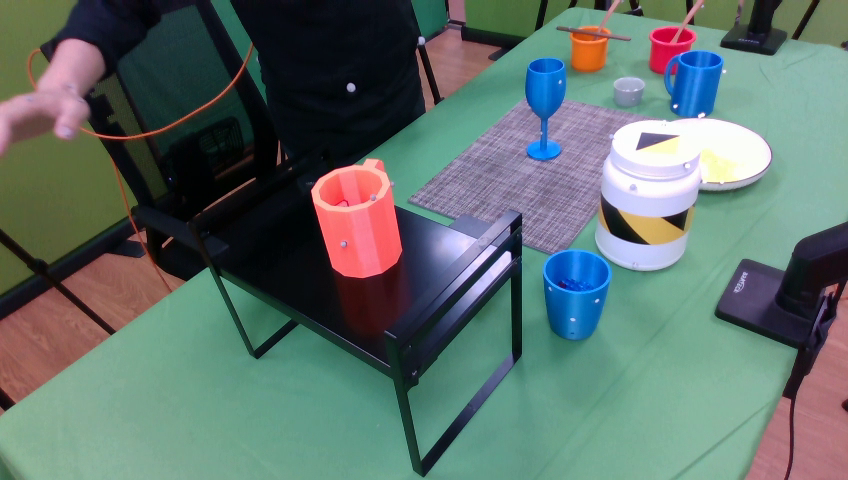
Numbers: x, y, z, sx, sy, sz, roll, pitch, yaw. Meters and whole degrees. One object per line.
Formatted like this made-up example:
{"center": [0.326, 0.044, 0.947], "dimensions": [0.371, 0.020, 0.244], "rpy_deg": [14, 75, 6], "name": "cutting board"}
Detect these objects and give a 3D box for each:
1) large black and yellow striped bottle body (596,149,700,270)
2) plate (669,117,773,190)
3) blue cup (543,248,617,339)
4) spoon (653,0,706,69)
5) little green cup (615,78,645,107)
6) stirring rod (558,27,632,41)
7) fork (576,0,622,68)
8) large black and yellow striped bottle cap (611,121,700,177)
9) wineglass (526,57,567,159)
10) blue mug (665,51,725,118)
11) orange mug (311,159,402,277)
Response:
{"center": [0.323, -0.062, 0.877], "dimensions": [0.131, 0.185, 0.130], "rpy_deg": [-5, 40, 4], "name": "large black and yellow striped bottle body"}
{"center": [0.495, -0.149, 1.063], "dimensions": [0.209, 0.038, 0.208], "rpy_deg": [-5, 40, 4], "name": "plate"}
{"center": [0.199, 0.076, 0.797], "dimensions": [0.092, 0.100, 0.092], "rpy_deg": [-4, 39, 4], "name": "blue cup"}
{"center": [0.570, -0.461, 1.334], "dimensions": [0.041, 0.022, 0.193], "rpy_deg": [39, 102, 42], "name": "spoon"}
{"center": [0.426, -0.306, 1.257], "dimensions": [0.061, 0.039, 0.061], "rpy_deg": [-5, 40, 4], "name": "little green cup"}
{"center": [0.381, -0.463, 1.356], "dimensions": [0.175, 0.006, 0.014], "rpy_deg": [21, 48, 30], "name": "stirring rod"}
{"center": [0.409, -0.484, 1.381], "dimensions": [0.028, 0.019, 0.207], "rpy_deg": [37, 101, 46], "name": "fork"}
{"center": [0.315, -0.126, 0.823], "dimensions": [0.115, 0.019, 0.114], "rpy_deg": [-4, 42, 4], "name": "large black and yellow striped bottle cap"}
{"center": [0.221, -0.237, 1.097], "dimensions": [0.074, 0.173, 0.073], "rpy_deg": [-5, 41, 4], "name": "wineglass"}
{"center": [0.526, -0.314, 1.199], "dimensions": [0.082, 0.106, 0.115], "rpy_deg": [-27, 44, -21], "name": "blue mug"}
{"center": [-0.069, -0.034, 0.694], "dimensions": [0.083, 0.101, 0.126], "rpy_deg": [5, 46, 16], "name": "orange mug"}
